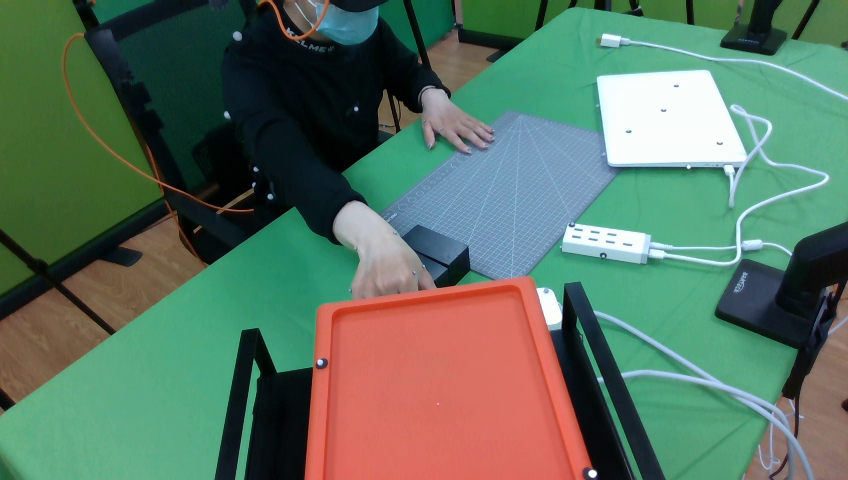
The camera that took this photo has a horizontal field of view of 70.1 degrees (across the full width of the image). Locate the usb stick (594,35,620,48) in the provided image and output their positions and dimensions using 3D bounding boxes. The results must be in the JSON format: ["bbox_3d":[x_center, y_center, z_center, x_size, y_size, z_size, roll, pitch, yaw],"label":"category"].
[{"bbox_3d":[0.443,-0.482,1.466,0.059,0.021,0.027,9,43,10],"label":"usb stick"}]

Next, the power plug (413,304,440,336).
[{"bbox_3d":[0.005,0.113,0.772,0.035,0.053,0.072,-16,39,7],"label":"power plug"}]

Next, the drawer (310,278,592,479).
[{"bbox_3d":[0.013,0.137,0.489,0.195,0.073,0.210,-7,41,0],"label":"drawer"}]

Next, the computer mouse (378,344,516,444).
[{"bbox_3d":[0.018,0.126,0.520,0.116,0.041,0.063,13,47,29],"label":"computer mouse"}]

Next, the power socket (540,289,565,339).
[{"bbox_3d":[0.080,0.112,0.822,0.227,0.033,0.072,-7,41,-1],"label":"power socket"}]

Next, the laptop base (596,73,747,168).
[{"bbox_3d":[0.469,-0.238,1.189,0.235,0.023,0.353,-1,40,11],"label":"laptop base"}]

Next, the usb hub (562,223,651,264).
[{"bbox_3d":[0.279,0.005,0.925,0.124,0.025,0.049,10,43,19],"label":"usb hub"}]

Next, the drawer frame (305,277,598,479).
[{"bbox_3d":[0.014,0.137,0.486,0.202,0.083,0.212,-8,41,-1],"label":"drawer frame"}]

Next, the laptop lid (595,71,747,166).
[{"bbox_3d":[0.466,-0.247,1.181,0.241,0.013,0.355,1,41,12],"label":"laptop lid"}]
